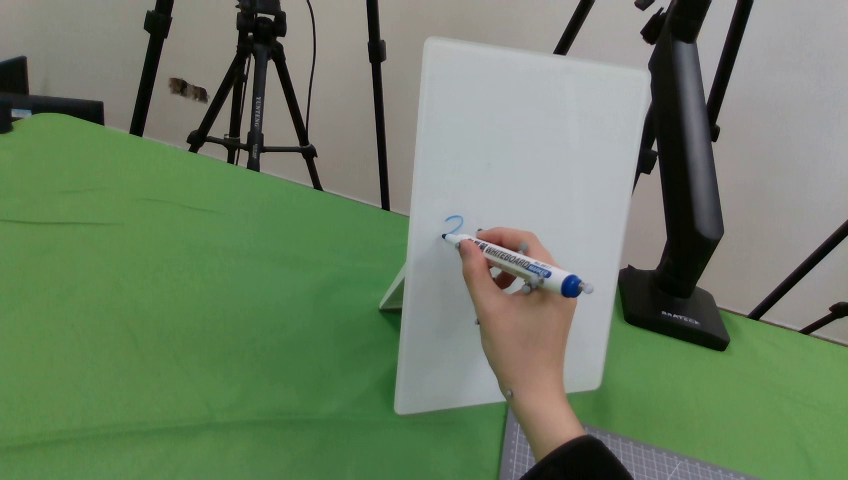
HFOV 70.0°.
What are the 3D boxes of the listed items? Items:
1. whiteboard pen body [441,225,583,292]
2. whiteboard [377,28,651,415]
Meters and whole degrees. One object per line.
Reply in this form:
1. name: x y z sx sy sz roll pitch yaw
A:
1. whiteboard pen body: 0.053 0.008 0.422 0.017 0.017 0.139 -8 20 -34
2. whiteboard: 0.061 -0.021 0.570 0.218 0.306 0.142 -1 14 -24
